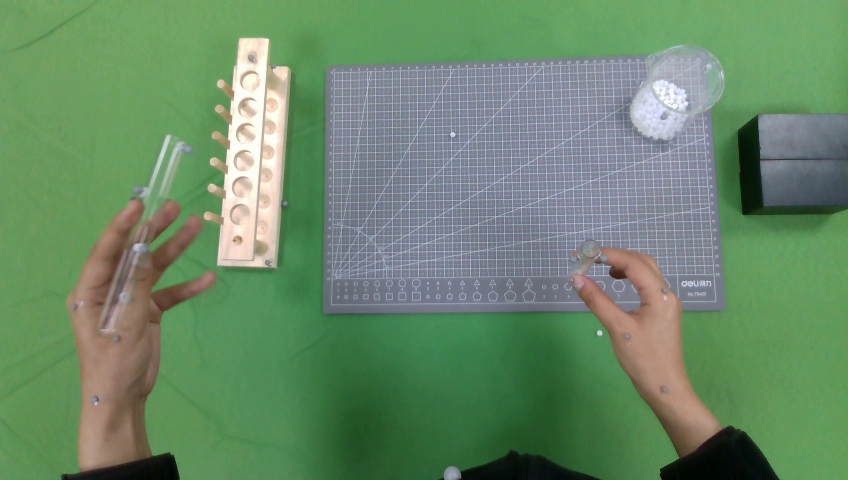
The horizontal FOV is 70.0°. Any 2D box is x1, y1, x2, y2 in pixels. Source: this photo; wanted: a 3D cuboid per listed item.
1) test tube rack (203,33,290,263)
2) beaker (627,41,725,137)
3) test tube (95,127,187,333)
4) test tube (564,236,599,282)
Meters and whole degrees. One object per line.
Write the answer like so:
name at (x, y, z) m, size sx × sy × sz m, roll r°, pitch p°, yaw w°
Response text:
test tube rack at (-0.203, -0.099, 0.682) m, size 0.067 × 0.085 × 0.241 m, roll 2°, pitch 83°, yaw 4°
beaker at (0.263, -0.159, 0.654) m, size 0.083 × 0.100 × 0.074 m, roll 37°, pitch 86°, yaw 9°
test tube at (-0.198, -0.008, 0.424) m, size 0.017 × 0.017 × 0.150 m, roll 16°, pitch 83°, yaw 6°
test tube at (0.137, 0.019, 0.536) m, size 0.017 × 0.151 × 0.017 m, roll -2°, pitch 77°, yaw 8°
